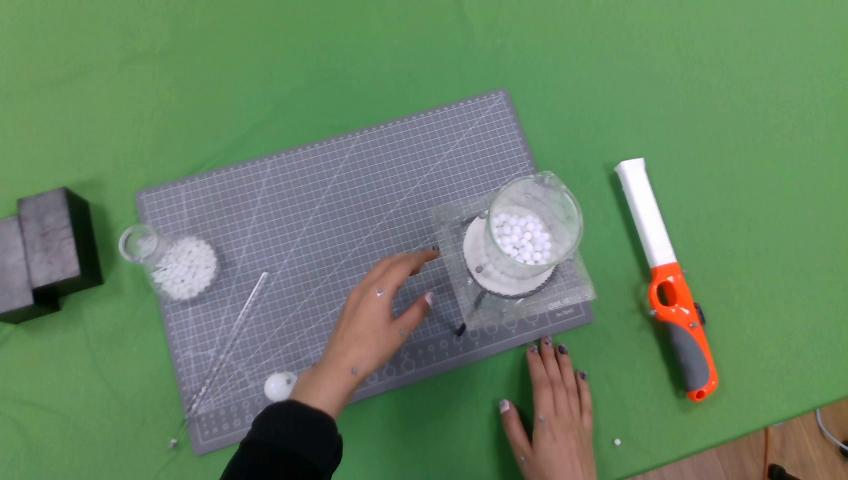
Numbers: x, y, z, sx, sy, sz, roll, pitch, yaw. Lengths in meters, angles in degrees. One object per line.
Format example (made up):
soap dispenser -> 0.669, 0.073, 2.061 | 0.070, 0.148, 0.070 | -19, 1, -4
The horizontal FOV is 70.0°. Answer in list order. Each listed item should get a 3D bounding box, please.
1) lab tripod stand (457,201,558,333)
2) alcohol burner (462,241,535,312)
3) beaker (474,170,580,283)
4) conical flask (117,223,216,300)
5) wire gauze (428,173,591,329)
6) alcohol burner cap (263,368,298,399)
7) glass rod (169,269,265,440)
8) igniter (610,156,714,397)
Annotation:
lab tripod stand -> 0.076, 0.027, 0.618 | 0.148, 0.132, 0.147 | 1, 78, -2
alcohol burner -> 0.079, 0.035, 0.627 | 0.078, 0.119, 0.077 | 0, 77, 0
beaker -> 0.081, -0.007, 0.509 | 0.074, 0.100, 0.083 | 18, 77, 1
conical flask -> -0.264, 0.016, 0.612 | 0.075, 0.122, 0.075 | 1, 76, -2
wire gauze -> 0.078, 0.009, 0.555 | 0.125, 0.011, 0.121 | -14, 81, -7
alcohol burner cap -> -0.151, 0.149, 0.627 | 0.034, 0.048, 0.033 | 1, 77, -3
glass rod -> -0.219, 0.119, 0.648 | 0.008, 0.008, 0.199 | 25, 77, 4
igniter -> 0.267, 0.036, 0.681 | 0.057, 0.025, 0.275 | -11, 77, -16
